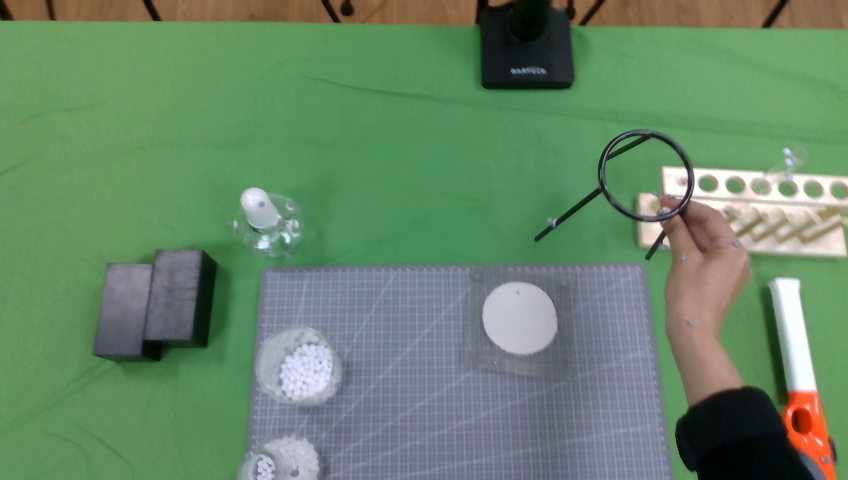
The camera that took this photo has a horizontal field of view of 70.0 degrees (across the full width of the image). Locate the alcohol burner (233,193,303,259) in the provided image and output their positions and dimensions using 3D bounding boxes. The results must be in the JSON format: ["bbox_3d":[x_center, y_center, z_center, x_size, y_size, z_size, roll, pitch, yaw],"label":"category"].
[{"bbox_3d":[-0.176,-0.022,0.669,0.078,0.120,0.077,0,72,1],"label":"alcohol burner"}]

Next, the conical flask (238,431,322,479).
[{"bbox_3d":[-0.143,0.221,0.581,0.075,0.122,0.075,0,71,-1],"label":"conical flask"}]

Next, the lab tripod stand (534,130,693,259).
[{"bbox_3d":[0.194,-0.040,0.613,0.148,0.132,0.147,1,77,-4],"label":"lab tripod stand"}]

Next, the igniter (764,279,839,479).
[{"bbox_3d":[0.412,0.177,0.660,0.057,0.025,0.274,4,71,-10],"label":"igniter"}]

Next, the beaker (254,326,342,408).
[{"bbox_3d":[-0.121,0.136,0.621,0.083,0.101,0.074,35,74,9],"label":"beaker"}]

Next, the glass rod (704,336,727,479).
[{"bbox_3d":[0.320,0.204,0.659,0.008,0.008,0.198,1,74,-1],"label":"glass rod"}]

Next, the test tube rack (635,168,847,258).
[{"bbox_3d":[0.379,-0.030,0.697,0.242,0.085,0.066,3,71,0],"label":"test tube rack"}]

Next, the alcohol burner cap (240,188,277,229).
[{"bbox_3d":[-0.175,-0.036,0.635,0.034,0.048,0.033,1,65,-2],"label":"alcohol burner cap"}]

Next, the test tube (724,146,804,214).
[{"bbox_3d":[0.363,-0.060,0.655,0.017,0.151,0.017,0,71,2],"label":"test tube"}]

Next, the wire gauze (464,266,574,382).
[{"bbox_3d":[0.110,0.092,0.689,0.125,0.011,0.120,8,71,-1],"label":"wire gauze"}]
